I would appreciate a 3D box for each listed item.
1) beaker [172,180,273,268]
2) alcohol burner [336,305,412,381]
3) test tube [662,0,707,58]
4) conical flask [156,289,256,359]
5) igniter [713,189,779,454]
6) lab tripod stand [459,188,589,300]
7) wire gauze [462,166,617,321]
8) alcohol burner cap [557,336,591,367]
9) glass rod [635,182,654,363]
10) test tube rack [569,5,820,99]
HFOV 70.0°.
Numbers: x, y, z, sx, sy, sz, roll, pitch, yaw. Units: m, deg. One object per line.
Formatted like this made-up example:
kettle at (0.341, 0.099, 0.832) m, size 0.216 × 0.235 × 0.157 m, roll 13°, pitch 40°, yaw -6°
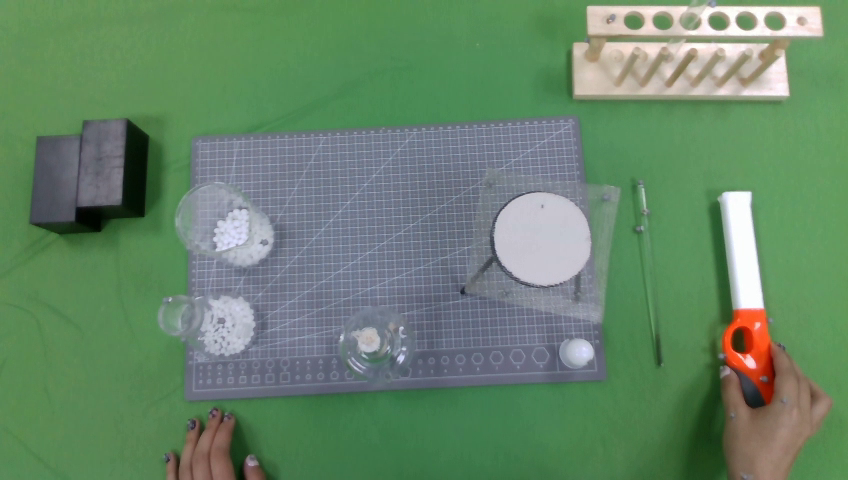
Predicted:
beaker at (-0.203, -0.011, 0.635) m, size 0.084 × 0.100 × 0.074 m, roll 33°, pitch 81°, yaw 7°
alcohol burner at (-0.052, 0.101, 0.601) m, size 0.078 × 0.119 × 0.077 m, roll -1°, pitch 78°, yaw 4°
test tube at (0.272, -0.230, 0.626) m, size 0.017 × 0.151 × 0.017 m, roll -1°, pitch 78°, yaw 5°
conical flask at (-0.221, 0.080, 0.605) m, size 0.075 × 0.122 × 0.075 m, roll 0°, pitch 78°, yaw 2°
igniter at (0.336, 0.081, 0.638) m, size 0.057 × 0.025 × 0.275 m, roll -1°, pitch 78°, yaw 1°
lab tripod stand at (0.102, 0.013, 0.604) m, size 0.148 × 0.132 × 0.148 m, roll 0°, pitch 80°, yaw 2°
wire gauze at (0.103, 0.000, 0.538) m, size 0.125 × 0.011 × 0.121 m, roll 11°, pitch 80°, yaw 4°
alcohol burner cap at (0.157, 0.114, 0.629) m, size 0.034 × 0.048 × 0.033 m, roll 0°, pitch 77°, yaw 2°
glass rod at (0.242, 0.034, 0.663) m, size 0.008 × 0.008 × 0.199 m, roll -2°, pitch 81°, yaw 1°
test tube rack at (0.291, -0.206, 0.671) m, size 0.242 × 0.085 × 0.066 m, roll 1°, pitch 78°, yaw 2°
